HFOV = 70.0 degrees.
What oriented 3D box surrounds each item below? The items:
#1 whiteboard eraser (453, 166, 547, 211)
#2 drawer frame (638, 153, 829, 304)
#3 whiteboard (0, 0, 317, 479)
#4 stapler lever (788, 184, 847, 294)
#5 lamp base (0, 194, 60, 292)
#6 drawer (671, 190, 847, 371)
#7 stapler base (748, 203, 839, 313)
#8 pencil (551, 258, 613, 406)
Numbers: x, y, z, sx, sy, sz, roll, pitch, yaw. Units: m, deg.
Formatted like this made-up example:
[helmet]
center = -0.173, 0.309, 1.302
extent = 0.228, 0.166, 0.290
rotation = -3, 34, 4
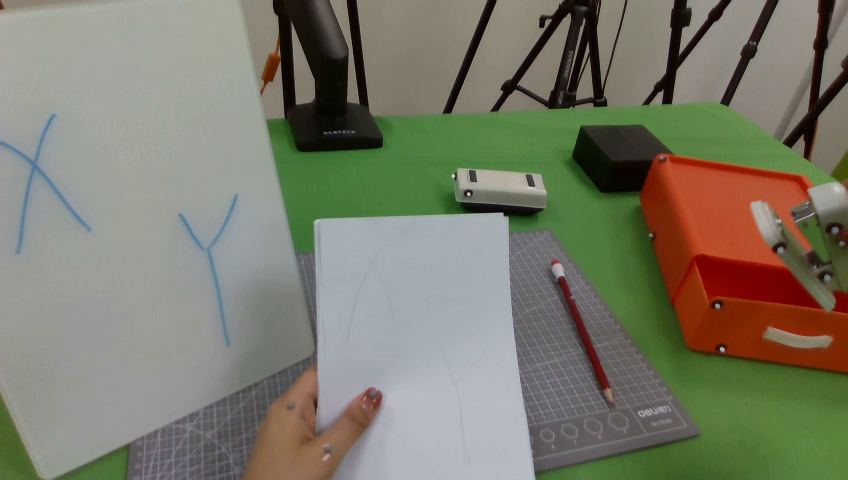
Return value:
[whiteboard eraser]
center = 0.094, -0.064, 0.758
extent = 0.113, 0.042, 0.055
rotation = 5, 39, -5
[drawer frame]
center = 0.371, -0.005, 0.699
extent = 0.202, 0.083, 0.211
rotation = 8, 37, 1
[whiteboard]
center = -0.236, -0.020, 0.468
extent = 0.218, 0.307, 0.142
rotation = -22, 27, -32
[stapler lever]
center = 0.314, 0.000, 0.457
extent = 0.119, 0.040, 0.026
rotation = 35, 43, -33
[lamp base]
center = -0.442, -0.058, 0.532
extent = 0.178, 0.181, 0.160
rotation = 18, 38, 17
[drawer]
center = 0.364, 0.033, 0.651
extent = 0.194, 0.074, 0.210
rotation = 8, 37, 2
[stapler base]
center = 0.294, 0.011, 0.471
extent = 0.132, 0.024, 0.041
rotation = 34, 43, -32
[pencil]
center = 0.154, 0.083, 0.599
extent = 0.012, 0.012, 0.192
rotation = 1, 40, -9
